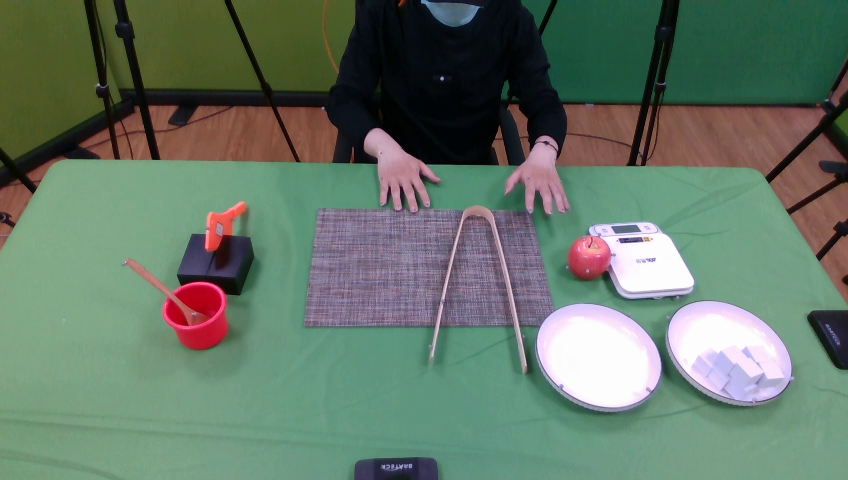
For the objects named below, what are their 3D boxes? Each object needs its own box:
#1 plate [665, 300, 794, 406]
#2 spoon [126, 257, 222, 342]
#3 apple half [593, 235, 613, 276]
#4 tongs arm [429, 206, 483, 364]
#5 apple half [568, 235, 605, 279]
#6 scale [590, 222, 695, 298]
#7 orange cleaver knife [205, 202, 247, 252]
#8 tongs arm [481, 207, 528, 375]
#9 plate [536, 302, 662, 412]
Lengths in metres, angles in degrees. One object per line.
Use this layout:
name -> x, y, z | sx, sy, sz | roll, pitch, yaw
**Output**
plate -> 0.513, 0.194, 1.034 | 0.208, 0.039, 0.206 | 2, 46, -2
spoon -> -0.407, 0.096, 0.990 | 0.194, 0.021, 0.041 | 50, 53, -18
apple half -> 0.340, 0.029, 1.155 | 0.033, 0.082, 0.080 | -10, 47, -8
tongs arm -> 0.065, 0.069, 1.124 | 0.051, 0.026, 0.382 | 8, 46, 5
apple half -> 0.302, 0.035, 1.148 | 0.053, 0.075, 0.080 | -9, 51, -8
scale -> 0.424, 0.031, 1.189 | 0.149, 0.032, 0.199 | -3, 46, -7
orange cleaver knife -> -0.374, -0.029, 1.150 | 0.012, 0.077, 0.211 | 4, 13, 0
tongs arm -> 0.149, 0.077, 1.124 | 0.028, 0.028, 0.385 | -4, 46, -2
plate -> 0.288, 0.197, 1.016 | 0.209, 0.038, 0.208 | 2, 46, -2
